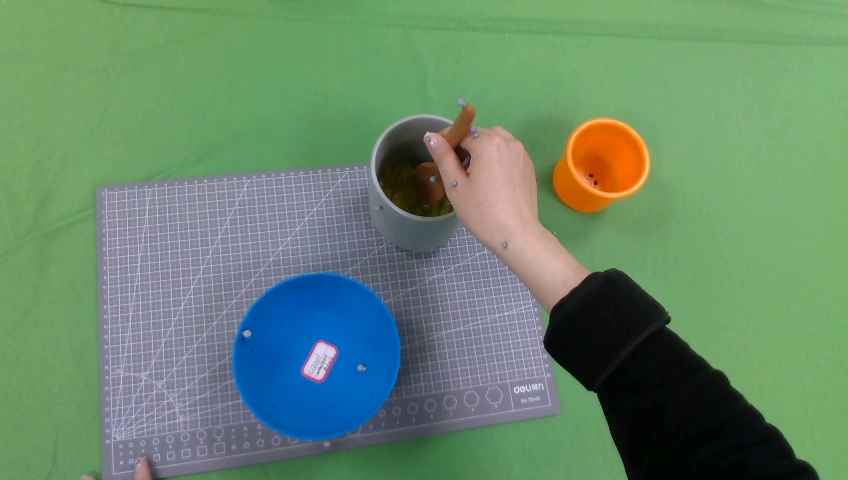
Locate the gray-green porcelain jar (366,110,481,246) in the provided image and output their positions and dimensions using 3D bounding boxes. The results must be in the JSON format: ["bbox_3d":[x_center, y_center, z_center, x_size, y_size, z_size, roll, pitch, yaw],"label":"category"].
[{"bbox_3d":[-0.005,-0.055,0.610,0.106,0.127,0.105,2,75,-6],"label":"gray-green porcelain jar"}]

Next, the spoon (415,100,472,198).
[{"bbox_3d":[0.017,-0.077,0.545,0.021,0.194,0.041,-36,85,-13],"label":"spoon"}]

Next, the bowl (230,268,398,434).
[{"bbox_3d":[-0.102,0.108,0.582,0.152,0.077,0.150,2,75,-7],"label":"bowl"}]
